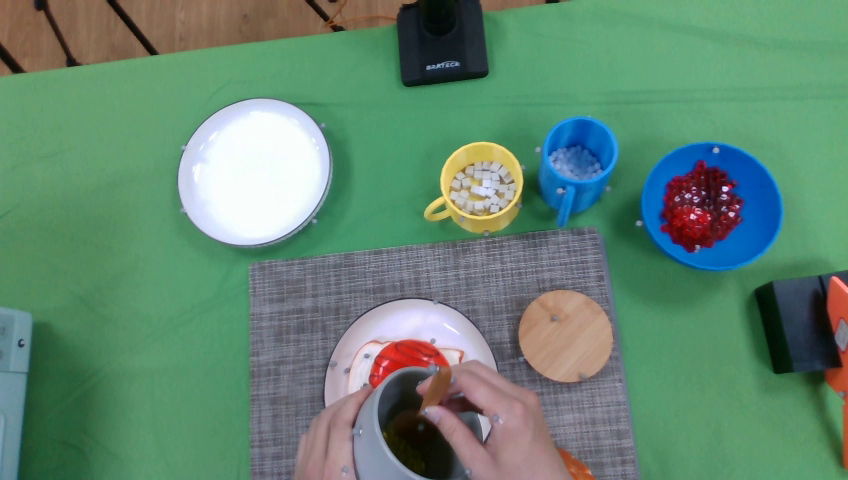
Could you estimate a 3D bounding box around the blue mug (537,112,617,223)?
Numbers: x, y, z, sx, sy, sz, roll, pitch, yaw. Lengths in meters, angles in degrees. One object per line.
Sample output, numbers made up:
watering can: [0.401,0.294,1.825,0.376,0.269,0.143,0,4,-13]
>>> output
blue mug: [0.175,-0.076,0.721,0.082,0.106,0.116,14,78,10]

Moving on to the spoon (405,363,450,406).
spoon: [0.001,0.130,0.515,0.041,0.194,0.021,28,69,3]

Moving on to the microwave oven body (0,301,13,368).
microwave oven body: [-0.673,0.279,0.646,0.326,0.261,0.439,-5,76,5]

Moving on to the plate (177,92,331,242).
plate: [-0.222,-0.095,0.807,0.207,0.039,0.206,-1,76,6]

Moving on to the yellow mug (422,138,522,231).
yellow mug: [0.057,-0.061,0.751,0.131,0.064,0.099,-27,74,1]

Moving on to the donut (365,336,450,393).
donut: [-0.019,0.159,0.688,0.099,0.048,0.098,-1,77,3]

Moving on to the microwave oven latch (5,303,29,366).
microwave oven latch: [-0.525,0.120,0.768,0.030,0.029,0.079,-2,76,6]

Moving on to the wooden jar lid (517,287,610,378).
wooden jar lid: [0.164,0.109,0.717,0.108,0.021,0.108,-1,77,6]

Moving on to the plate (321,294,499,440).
plate: [-0.015,0.168,0.713,0.209,0.038,0.208,-2,76,6]

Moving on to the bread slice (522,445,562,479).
bread slice: [0.120,0.270,0.627,0.018,0.135,0.106,3,74,0]

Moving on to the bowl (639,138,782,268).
bowl: [0.322,-0.035,0.708,0.151,0.077,0.150,-2,76,7]

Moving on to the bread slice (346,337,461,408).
bread slice: [-0.028,0.169,0.719,0.131,0.019,0.104,8,76,5]

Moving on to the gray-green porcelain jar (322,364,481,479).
gray-green porcelain jar: [-0.026,0.188,0.544,0.105,0.106,0.127,52,131,16]

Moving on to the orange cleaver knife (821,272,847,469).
orange cleaver knife: [0.446,0.140,0.647,0.012,0.077,0.212,-8,105,6]

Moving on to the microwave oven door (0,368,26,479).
microwave oven door: [-0.527,0.306,0.617,0.039,0.245,0.354,-5,75,6]
